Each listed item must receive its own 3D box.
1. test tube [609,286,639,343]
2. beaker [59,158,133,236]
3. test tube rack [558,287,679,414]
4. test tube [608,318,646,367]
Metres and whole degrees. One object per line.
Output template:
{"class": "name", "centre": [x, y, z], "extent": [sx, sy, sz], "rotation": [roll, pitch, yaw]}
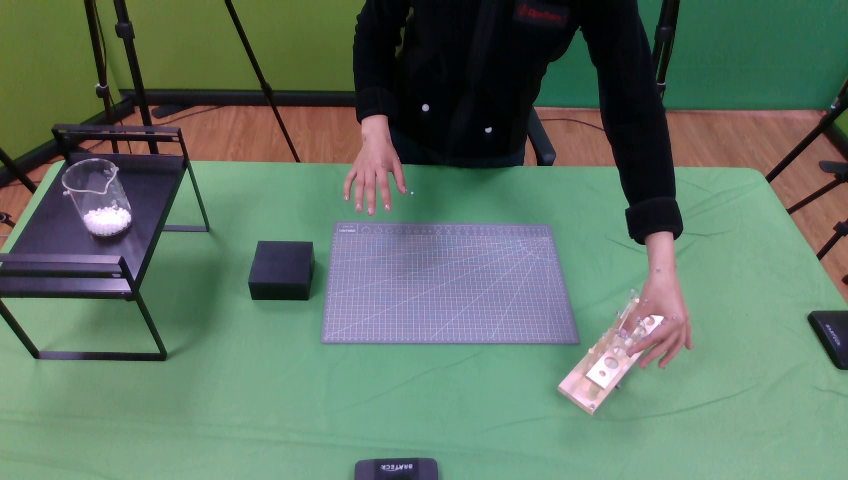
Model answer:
{"class": "test tube", "centre": [0.324, 0.123, 0.991], "extent": [0.017, 0.151, 0.017], "rotation": [2, 49, -2]}
{"class": "beaker", "centre": [-0.488, -0.060, 0.914], "extent": [0.074, 0.101, 0.083], "rotation": [-35, 58, -31]}
{"class": "test tube rack", "centre": [0.327, 0.170, 1.009], "extent": [0.066, 0.085, 0.242], "rotation": [35, 54, 27]}
{"class": "test tube", "centre": [0.311, 0.169, 0.941], "extent": [0.017, 0.151, 0.017], "rotation": [3, 48, -3]}
